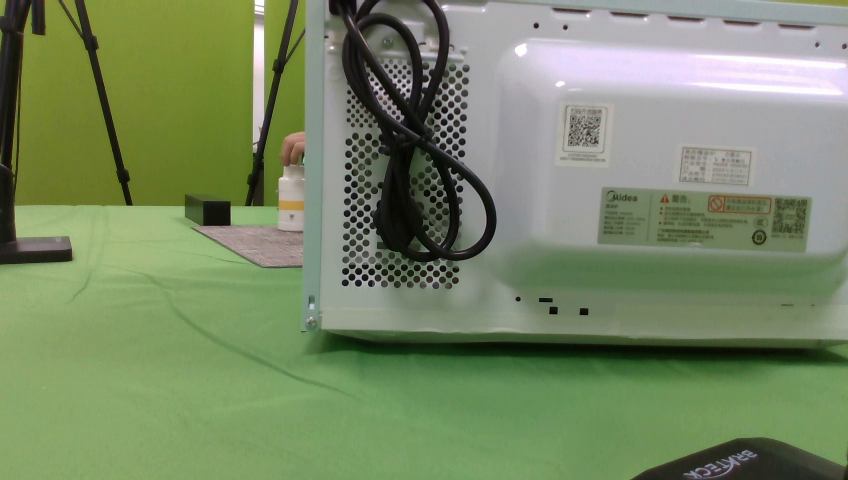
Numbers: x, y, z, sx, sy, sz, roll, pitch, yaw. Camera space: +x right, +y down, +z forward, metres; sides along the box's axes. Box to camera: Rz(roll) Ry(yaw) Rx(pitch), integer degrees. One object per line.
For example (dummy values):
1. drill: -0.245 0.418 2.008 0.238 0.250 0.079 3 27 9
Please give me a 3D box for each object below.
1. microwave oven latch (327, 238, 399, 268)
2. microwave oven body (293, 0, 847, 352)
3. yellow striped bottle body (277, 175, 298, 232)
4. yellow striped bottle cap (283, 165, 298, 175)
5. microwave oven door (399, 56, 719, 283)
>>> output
1. microwave oven latch: -0.069 0.015 0.694 0.079 0.029 0.030 3 7 -3
2. microwave oven body: 0.122 -0.055 0.551 0.442 0.260 0.325 3 7 -5
3. yellow striped bottle body: -0.242 -0.078 1.130 0.063 0.120 0.063 2 8 0
4. yellow striped bottle cap: -0.240 -0.129 1.124 0.044 0.018 0.044 5 8 0
5. microwave oven door: 0.154 -0.078 0.698 0.356 0.243 0.039 2 8 -5
